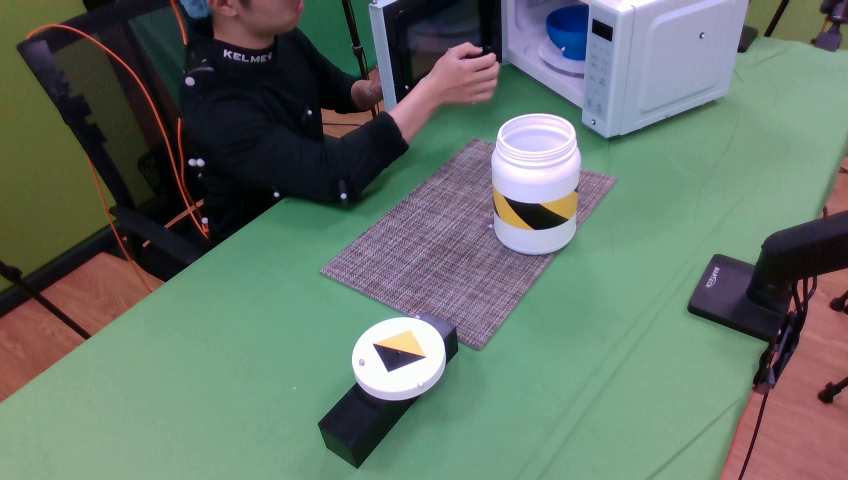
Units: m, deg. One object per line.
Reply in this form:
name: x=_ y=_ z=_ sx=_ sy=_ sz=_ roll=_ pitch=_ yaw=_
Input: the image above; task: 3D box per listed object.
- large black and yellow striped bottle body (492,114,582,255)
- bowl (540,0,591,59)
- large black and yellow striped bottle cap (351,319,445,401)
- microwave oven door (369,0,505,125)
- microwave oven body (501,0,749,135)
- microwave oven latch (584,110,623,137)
large black and yellow striped bottle body: x=0.169 y=-0.083 z=0.912 sx=0.131 sy=0.185 sz=0.130 roll=-4 pitch=41 yaw=4
bowl: x=0.328 y=-0.436 z=1.279 sx=0.151 sy=0.077 sz=0.150 roll=-13 pitch=39 yaw=12
large black and yellow striped bottle cap: x=-0.031 y=0.143 z=0.735 sx=0.115 sy=0.019 sz=0.114 roll=-3 pitch=40 yaw=3
microwave oven door: x=0.042 y=-0.425 z=1.263 sx=0.039 sy=0.245 sz=0.357 roll=29 pitch=52 yaw=34
microwave oven body: x=0.382 y=-0.444 z=1.246 sx=0.327 sy=0.261 sz=0.437 roll=-22 pitch=42 yaw=-16
microwave oven latch: x=0.337 y=-0.222 z=1.142 sx=0.030 sy=0.029 sz=0.078 roll=-21 pitch=42 yaw=-14
